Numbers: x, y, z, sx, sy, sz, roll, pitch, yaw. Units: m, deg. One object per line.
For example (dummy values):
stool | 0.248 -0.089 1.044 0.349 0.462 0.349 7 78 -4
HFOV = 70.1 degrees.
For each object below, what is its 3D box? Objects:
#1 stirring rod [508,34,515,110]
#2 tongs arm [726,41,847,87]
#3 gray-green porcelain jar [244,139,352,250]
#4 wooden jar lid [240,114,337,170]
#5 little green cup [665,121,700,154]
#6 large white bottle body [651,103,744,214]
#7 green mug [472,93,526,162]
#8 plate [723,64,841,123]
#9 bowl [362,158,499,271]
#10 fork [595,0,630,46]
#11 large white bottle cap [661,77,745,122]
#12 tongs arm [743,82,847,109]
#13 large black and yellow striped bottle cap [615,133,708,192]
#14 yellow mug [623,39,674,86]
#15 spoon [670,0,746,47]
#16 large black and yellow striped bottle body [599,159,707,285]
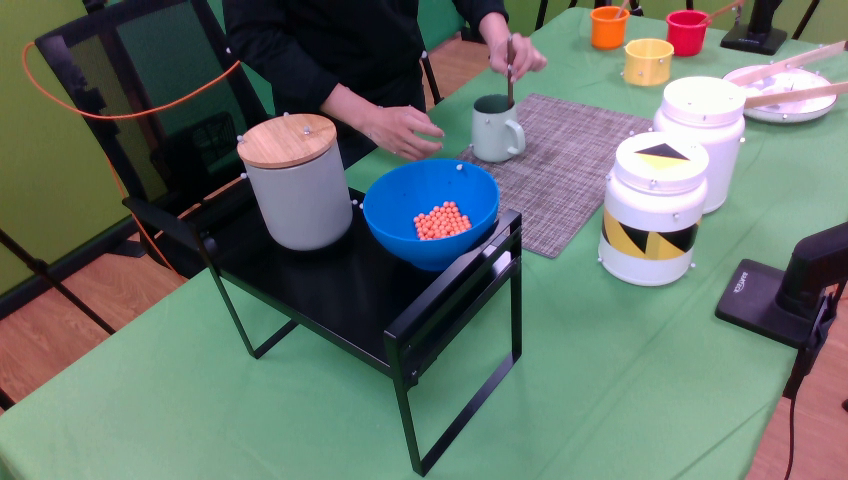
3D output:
stirring rod | 0.155 -0.278 1.071 0.006 0.177 0.014 16 44 23
tongs arm | 0.712 -0.332 1.194 0.386 0.026 0.050 -18 44 -16
gray-green porcelain jar | -0.144 -0.060 0.714 0.106 0.127 0.105 -4 41 4
wooden jar lid | -0.149 -0.106 0.673 0.108 0.021 0.108 -6 39 5
little green cup | 0.473 -0.188 1.113 0.061 0.039 0.061 -6 40 5
large white bottle body | 0.426 -0.146 0.958 0.130 0.185 0.130 -4 40 4
green mug | 0.144 -0.201 1.122 0.093 0.105 0.124 -29 45 -23
plate | 0.695 -0.282 1.189 0.207 0.039 0.206 -4 40 4
bowl | 0.011 -0.019 0.679 0.151 0.077 0.150 -5 41 5
fork | 0.480 -0.556 1.452 0.028 0.019 0.207 42 104 40
large white bottle cap | 0.415 -0.210 0.904 0.115 0.018 0.114 -4 40 4
tongs arm | 0.738 -0.282 1.133 0.388 0.028 0.028 -9 46 -5
large black and yellow striped bottle cap | 0.313 -0.105 0.799 0.115 0.019 0.114 -5 41 5
yellow mug | 0.485 -0.398 1.334 0.100 0.064 0.130 -18 41 -10
spoon | 0.629 -0.485 1.350 0.022 0.193 0.042 48 54 -7
large black and yellow striped bottle body | 0.320 -0.042 0.854 0.131 0.185 0.130 -4 41 4
